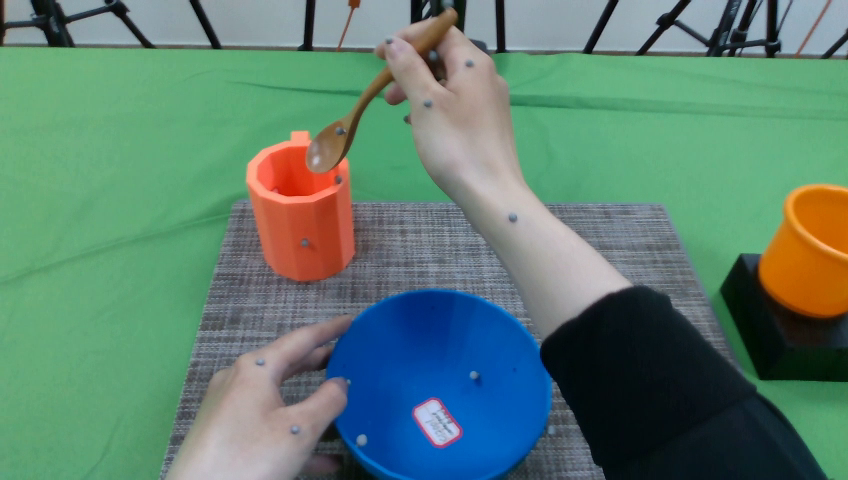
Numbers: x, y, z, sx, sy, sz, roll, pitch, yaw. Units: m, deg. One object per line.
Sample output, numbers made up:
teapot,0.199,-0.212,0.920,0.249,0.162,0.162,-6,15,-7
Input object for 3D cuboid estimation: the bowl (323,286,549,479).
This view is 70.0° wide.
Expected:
bowl,0.007,0.114,0.428,0.151,0.077,0.150,3,45,-2

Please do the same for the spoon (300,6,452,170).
spoon,-0.042,-0.103,0.436,0.022,0.193,0.041,4,67,-34

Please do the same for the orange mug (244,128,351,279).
orange mug,-0.113,-0.042,0.556,0.083,0.101,0.125,-4,51,-8
